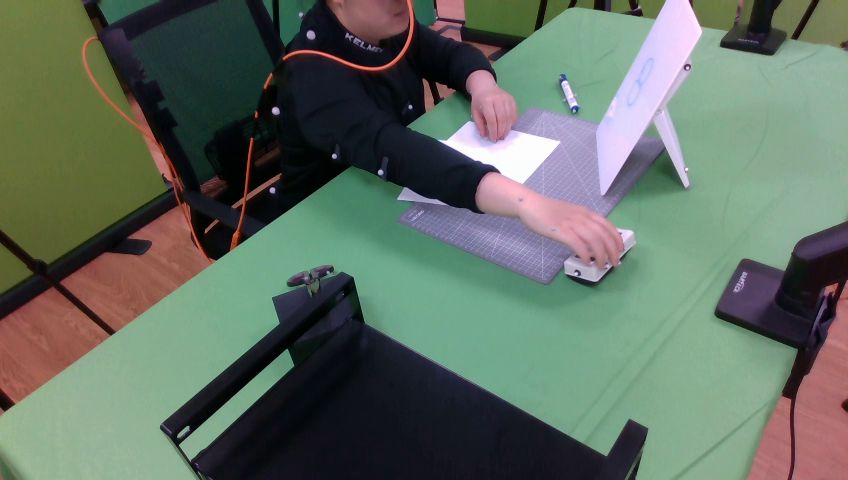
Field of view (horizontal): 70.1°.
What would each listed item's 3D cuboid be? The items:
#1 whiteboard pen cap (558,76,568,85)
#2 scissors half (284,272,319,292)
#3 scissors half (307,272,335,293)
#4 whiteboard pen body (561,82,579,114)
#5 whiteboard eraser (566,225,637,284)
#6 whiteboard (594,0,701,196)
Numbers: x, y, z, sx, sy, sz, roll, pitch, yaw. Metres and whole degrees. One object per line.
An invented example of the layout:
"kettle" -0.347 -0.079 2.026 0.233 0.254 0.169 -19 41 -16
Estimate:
"whiteboard pen cap" 0.310 -0.350 1.341 0.018 0.018 0.033 -6 41 2
"scissors half" -0.172 0.063 0.868 0.040 0.013 0.174 -7 6 -22
"scissors half" -0.152 0.062 0.872 0.040 0.013 0.175 0 4 -4
"whiteboard pen body" 0.310 -0.311 1.298 0.017 0.017 0.140 -6 41 2
"whiteboard eraser" 0.263 0.023 0.893 0.113 0.042 0.055 -38 31 -31
"whiteboard" 0.421 -0.227 1.010 0.144 0.305 0.216 18 42 -2
